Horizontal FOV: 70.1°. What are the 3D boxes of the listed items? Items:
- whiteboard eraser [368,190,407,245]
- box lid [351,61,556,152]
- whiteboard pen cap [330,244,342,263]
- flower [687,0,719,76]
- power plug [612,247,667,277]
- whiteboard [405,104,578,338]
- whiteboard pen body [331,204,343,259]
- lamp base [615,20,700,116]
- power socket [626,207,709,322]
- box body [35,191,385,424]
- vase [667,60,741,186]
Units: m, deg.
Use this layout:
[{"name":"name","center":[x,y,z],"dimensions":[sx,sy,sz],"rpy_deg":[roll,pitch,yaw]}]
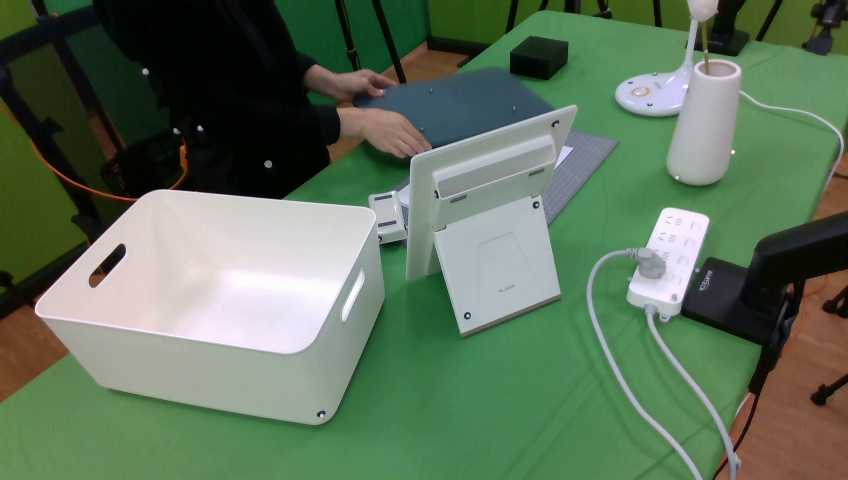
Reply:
[{"name":"whiteboard eraser","center":[-0.061,-0.035,1.005],"dimensions":[0.056,0.042,0.112],"rpy_deg":[-9,40,-4]},{"name":"box lid","center":[0.058,-0.283,1.241],"dimensions":[0.373,0.015,0.261],"rpy_deg":[-17,43,-16]},{"name":"whiteboard pen cap","center":[-0.142,0.021,0.975],"dimensions":[0.018,0.018,0.033],"rpy_deg":[-7,39,0]},{"name":"flower","center":[0.436,-0.242,0.934],"dimensions":[0.038,0.364,0.043],"rpy_deg":[-24,49,9]},{"name":"power plug","center":[0.306,0.031,0.852],"dimensions":[0.072,0.053,0.035],"rpy_deg":[21,48,37]},{"name":"whiteboard","center":[0.102,0.003,0.787],"dimensions":[0.218,0.306,0.143],"rpy_deg":[-19,62,-14]},{"name":"whiteboard pen body","center":[-0.146,-0.015,1.020],"dimensions":[0.017,0.017,0.140],"rpy_deg":[-6,40,1]},{"name":"lamp base","center":[0.484,-0.364,1.211],"dimensions":[0.180,0.181,0.159],"rpy_deg":[-15,41,-14]},{"name":"power socket","center":[0.360,0.026,0.886],"dimensions":[0.072,0.033,0.227],"rpy_deg":[17,46,26]},{"name":"box body","center":[-0.254,0.081,0.807],"dimensions":[0.363,0.161,0.253],"rpy_deg":[5,42,14]},{"name":"vase","center":[0.463,-0.189,0.994],"dimensions":[0.098,0.201,0.097],"rpy_deg":[-4,40,3]}]
